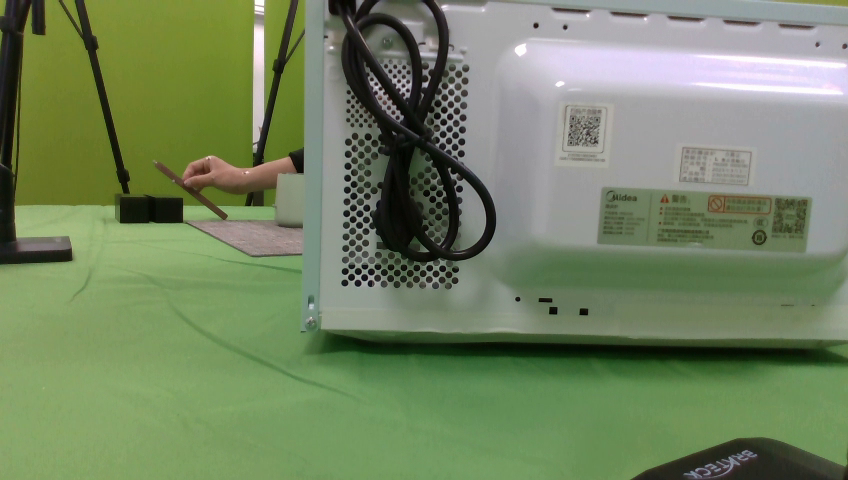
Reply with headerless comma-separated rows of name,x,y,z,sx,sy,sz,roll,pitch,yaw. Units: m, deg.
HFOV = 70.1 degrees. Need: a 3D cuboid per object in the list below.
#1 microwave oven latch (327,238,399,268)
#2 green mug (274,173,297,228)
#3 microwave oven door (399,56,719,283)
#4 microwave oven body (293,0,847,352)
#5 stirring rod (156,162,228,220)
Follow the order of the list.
microwave oven latch,-0.069,0.015,0.694,0.079,0.029,0.030,3,7,-3
green mug,-0.242,-0.081,1.221,0.092,0.105,0.126,8,9,40
microwave oven door,0.155,-0.078,0.697,0.356,0.243,0.039,2,8,-5
microwave oven body,0.122,-0.055,0.550,0.442,0.260,0.325,3,7,-5
stirring rod,-0.480,-0.100,1.259,0.177,0.014,0.006,43,-30,-27
